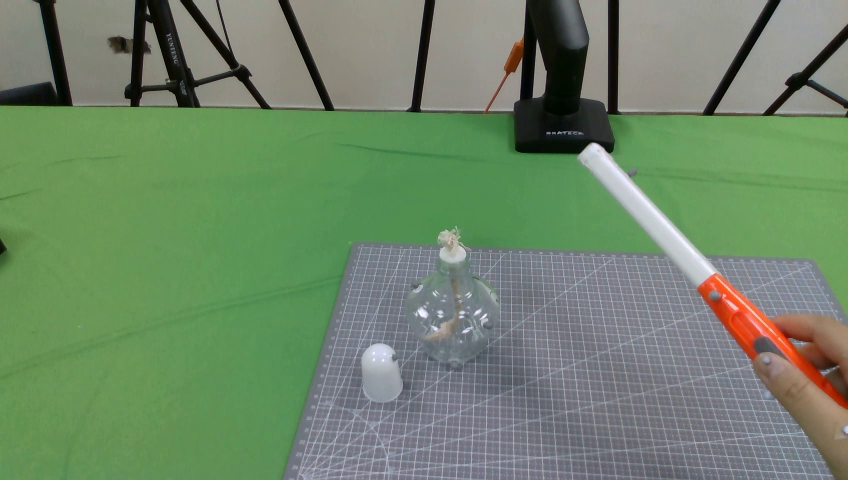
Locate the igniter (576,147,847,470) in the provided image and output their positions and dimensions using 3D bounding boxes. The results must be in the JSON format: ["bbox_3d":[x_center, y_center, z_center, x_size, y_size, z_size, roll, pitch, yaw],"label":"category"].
[{"bbox_3d":[0.189,0.038,0.385,0.058,0.025,0.273,16,35,-51],"label":"igniter"}]

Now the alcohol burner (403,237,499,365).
[{"bbox_3d":[0.022,0.043,0.480,0.078,0.120,0.077,0,41,0],"label":"alcohol burner"}]

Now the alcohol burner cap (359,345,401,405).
[{"bbox_3d":[-0.035,0.101,0.469,0.034,0.048,0.033,-1,40,1],"label":"alcohol burner cap"}]
